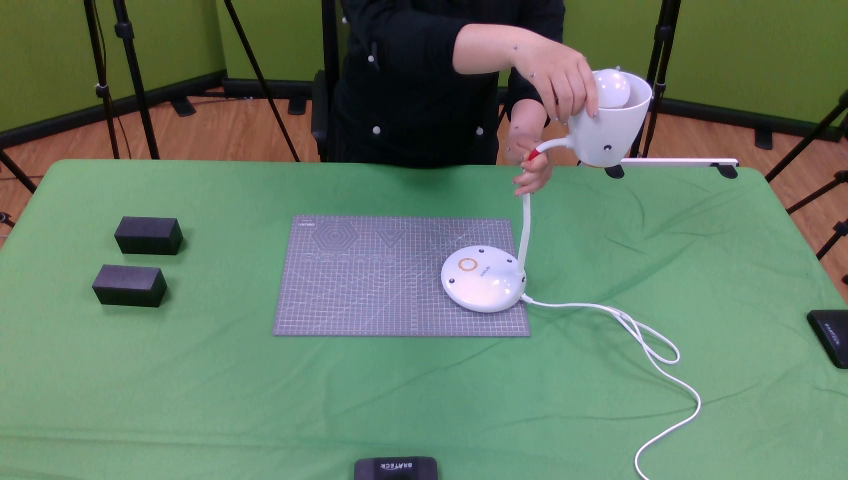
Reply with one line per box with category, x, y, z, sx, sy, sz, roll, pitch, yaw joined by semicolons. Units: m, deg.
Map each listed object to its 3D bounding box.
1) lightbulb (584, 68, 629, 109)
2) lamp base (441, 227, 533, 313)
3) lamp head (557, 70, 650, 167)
lightbulb;0.252;-0.188;0.854;0.059;0.108;0.059;0;39;0
lamp base;0.126;0.021;1.072;0.179;0.181;0.160;22;49;13
lamp head;0.251;-0.165;0.865;0.112;0.123;0.111;2;42;-1
